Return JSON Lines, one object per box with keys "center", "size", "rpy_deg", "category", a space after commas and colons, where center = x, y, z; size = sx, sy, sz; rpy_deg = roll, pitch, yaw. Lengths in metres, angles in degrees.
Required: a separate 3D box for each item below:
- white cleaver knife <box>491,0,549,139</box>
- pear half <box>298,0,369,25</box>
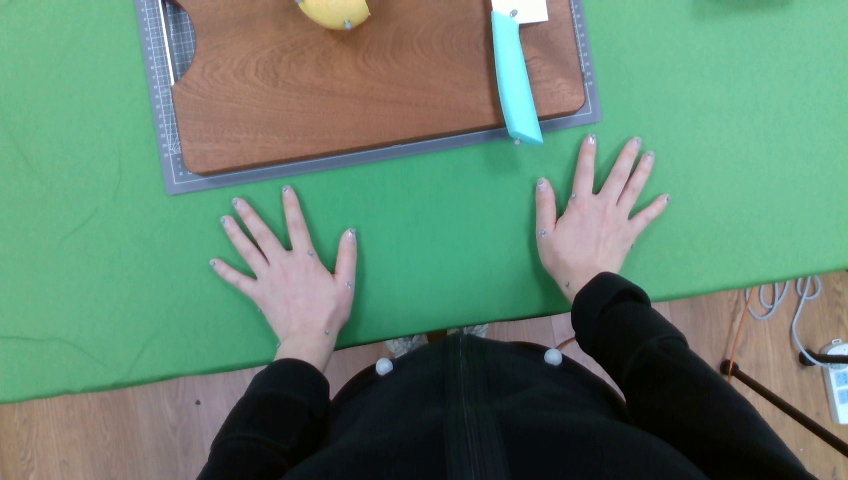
{"center": [0.090, -0.240, 0.589], "size": [0.066, 0.021, 0.286], "rpy_deg": [-9, 91, -11], "category": "white cleaver knife"}
{"center": [-0.090, -0.232, 0.541], "size": [0.056, 0.110, 0.076], "rpy_deg": [-40, 86, -1], "category": "pear half"}
